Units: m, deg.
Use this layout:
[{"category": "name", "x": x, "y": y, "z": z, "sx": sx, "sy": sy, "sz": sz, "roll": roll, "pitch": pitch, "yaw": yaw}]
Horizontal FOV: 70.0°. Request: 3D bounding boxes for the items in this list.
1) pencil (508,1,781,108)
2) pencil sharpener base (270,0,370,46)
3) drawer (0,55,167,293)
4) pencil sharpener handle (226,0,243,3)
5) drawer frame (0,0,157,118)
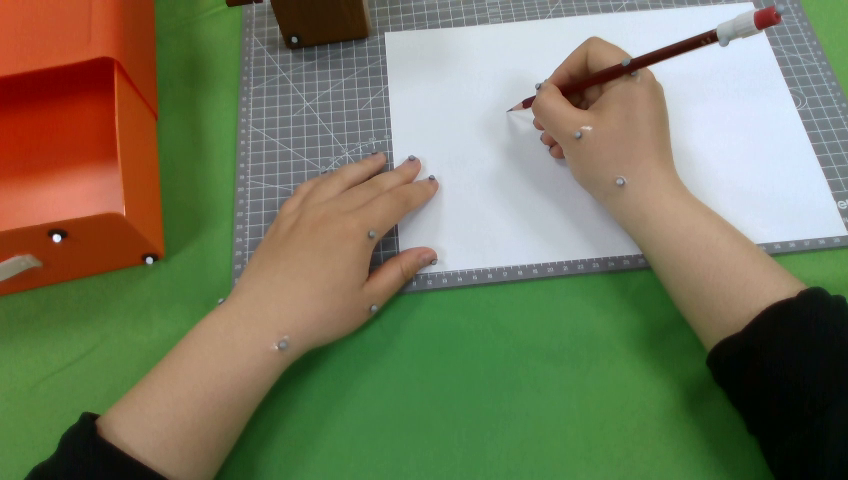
[{"category": "pencil", "x": 0.115, "y": -0.104, "z": 0.367, "sx": 0.012, "sy": 0.193, "sz": 0.012, "roll": 2, "pitch": 85, "yaw": -34}, {"category": "pencil sharpener base", "x": -0.086, "y": -0.204, "z": 0.446, "sx": 0.077, "sy": 0.108, "sz": 0.061, "roll": -11, "pitch": 65, "yaw": -2}, {"category": "drawer", "x": -0.289, "y": -0.069, "z": 0.411, "sx": 0.194, "sy": 0.074, "sz": 0.210, "roll": -13, "pitch": 66, "yaw": -3}, {"category": "pencil sharpener handle", "x": -0.137, "y": -0.199, "z": 0.432, "sx": 0.030, "sy": 0.068, "sz": 0.035, "roll": -11, "pitch": 63, "yaw": -2}, {"category": "drawer frame", "x": -0.316, "y": -0.174, "z": 0.457, "sx": 0.202, "sy": 0.083, "sz": 0.211, "roll": -13, "pitch": 65, "yaw": -3}]
